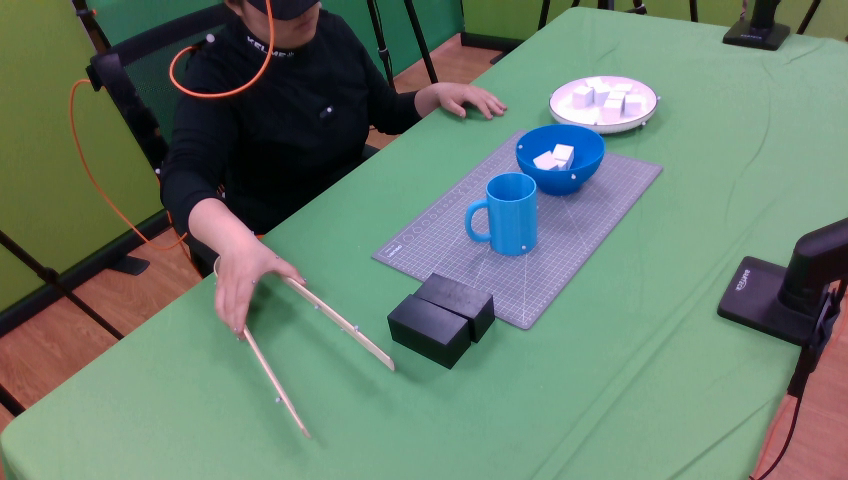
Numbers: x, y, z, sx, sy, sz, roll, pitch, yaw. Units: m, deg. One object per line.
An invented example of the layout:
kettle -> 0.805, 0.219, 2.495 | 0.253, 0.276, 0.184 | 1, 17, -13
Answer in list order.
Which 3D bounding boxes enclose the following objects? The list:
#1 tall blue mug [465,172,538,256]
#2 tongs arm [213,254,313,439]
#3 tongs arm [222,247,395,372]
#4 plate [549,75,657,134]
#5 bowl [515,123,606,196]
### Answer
tall blue mug -> 0.125, -0.033, 0.925 | 0.107, 0.108, 0.077 | -32, 46, -25
tongs arm -> -0.235, 0.133, 0.846 | 0.028, 0.028, 0.384 | -35, 45, -12
tongs arm -> -0.181, 0.094, 0.871 | 0.051, 0.027, 0.381 | -40, 47, -21
plate -> 0.357, -0.269, 1.220 | 0.209, 0.038, 0.208 | -5, 41, 5
bowl -> 0.234, -0.130, 1.044 | 0.151, 0.077, 0.150 | -5, 40, 5
